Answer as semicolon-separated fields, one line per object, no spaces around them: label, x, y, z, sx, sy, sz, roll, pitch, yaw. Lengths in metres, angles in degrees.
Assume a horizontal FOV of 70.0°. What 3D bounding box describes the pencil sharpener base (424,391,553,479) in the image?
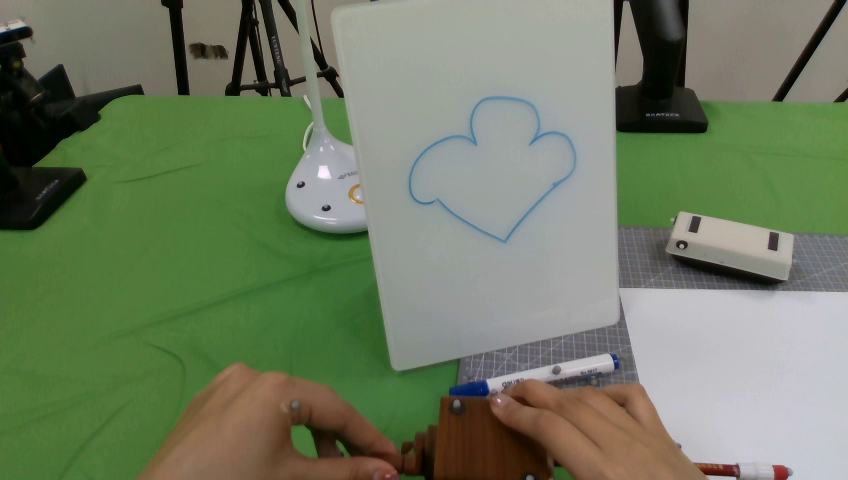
pencil sharpener base;0.041;0.154;0.399;0.076;0.108;0.061;0;40;6

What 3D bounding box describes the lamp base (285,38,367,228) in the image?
lamp base;-0.103;-0.131;0.703;0.161;0.182;0.177;-30;43;-28

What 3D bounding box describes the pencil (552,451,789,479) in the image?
pencil;0.122;0.136;0.373;0.194;0.012;0.012;1;39;5

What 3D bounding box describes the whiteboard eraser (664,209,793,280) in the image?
whiteboard eraser;0.305;0.005;0.609;0.112;0.042;0.055;16;44;22

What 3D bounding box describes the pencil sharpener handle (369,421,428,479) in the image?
pencil sharpener handle;-0.013;0.130;0.371;0.030;0.068;0.036;0;80;6

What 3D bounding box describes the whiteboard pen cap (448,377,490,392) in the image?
whiteboard pen cap;0.038;0.124;0.499;0.033;0.018;0.018;-11;40;-7

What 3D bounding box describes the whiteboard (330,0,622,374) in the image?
whiteboard;0.047;-0.066;0.558;0.217;0.307;0.142;-11;20;-7

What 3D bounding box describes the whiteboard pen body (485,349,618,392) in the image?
whiteboard pen body;0.095;0.112;0.507;0.141;0.017;0.017;-11;39;-7
